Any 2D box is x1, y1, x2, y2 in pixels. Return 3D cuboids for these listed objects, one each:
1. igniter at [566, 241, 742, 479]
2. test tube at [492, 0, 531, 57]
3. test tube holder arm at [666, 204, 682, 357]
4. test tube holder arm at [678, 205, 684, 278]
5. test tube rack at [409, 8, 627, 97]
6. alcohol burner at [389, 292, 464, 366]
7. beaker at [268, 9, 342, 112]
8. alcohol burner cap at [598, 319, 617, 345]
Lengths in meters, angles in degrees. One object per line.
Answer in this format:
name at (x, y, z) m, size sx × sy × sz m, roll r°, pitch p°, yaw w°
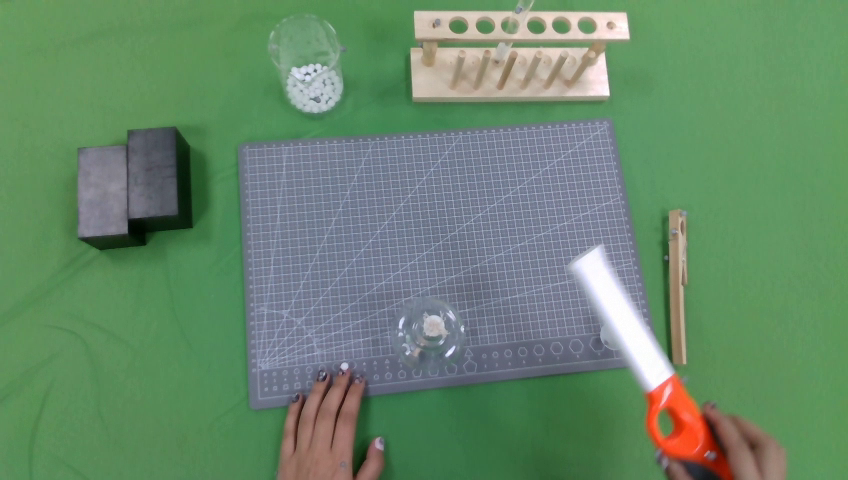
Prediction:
igniter at (0.207, 0.127, 0.529) m, size 0.057 × 0.025 × 0.276 m, roll -31°, pitch 92°, yaw -13°
test tube at (0.099, -0.243, 0.666) m, size 0.017 × 0.150 × 0.017 m, roll 2°, pitch 77°, yaw -8°
test tube holder arm at (0.289, 0.045, 0.698) m, size 0.013 × 0.015 × 0.177 m, roll 14°, pitch 74°, yaw -35°
test tube holder arm at (0.297, 0.002, 0.712) m, size 0.010 × 0.015 × 0.087 m, roll 16°, pitch 73°, yaw -34°
test tube rack at (0.106, -0.218, 0.713) m, size 0.243 × 0.085 × 0.066 m, roll -2°, pitch 77°, yaw -5°
alcohol burner at (0.004, 0.088, 0.614) m, size 0.078 × 0.119 × 0.077 m, roll 2°, pitch 75°, yaw -6°
beaker at (-0.129, -0.193, 0.679) m, size 0.074 × 0.100 × 0.083 m, roll -3°, pitch 77°, yaw -5°
alcohol burner cap at (0.215, 0.097, 0.667) m, size 0.034 × 0.048 × 0.033 m, roll 1°, pitch 75°, yaw -4°
